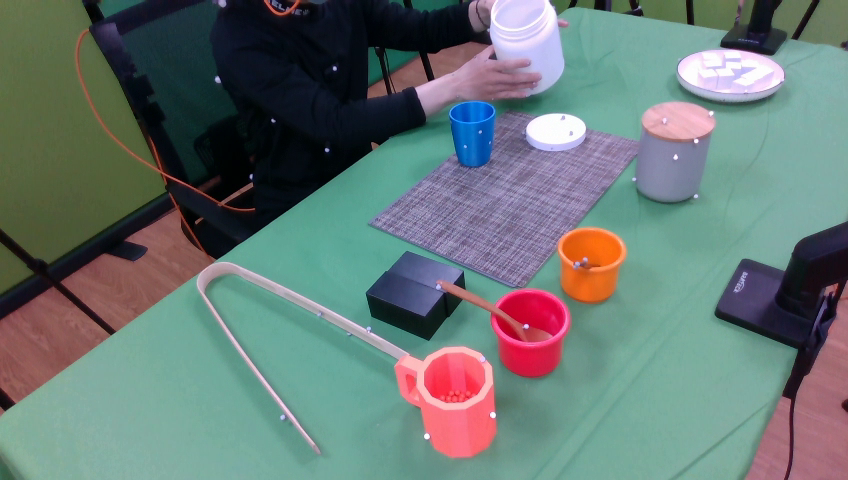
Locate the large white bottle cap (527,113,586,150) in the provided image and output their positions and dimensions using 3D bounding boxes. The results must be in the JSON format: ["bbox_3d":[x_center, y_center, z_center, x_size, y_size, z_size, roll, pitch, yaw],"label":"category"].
[{"bbox_3d":[0.259,-0.213,1.183,0.115,0.018,0.114,-4,41,4],"label":"large white bottle cap"}]

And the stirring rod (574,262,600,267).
[{"bbox_3d":[0.222,0.033,0.816,0.014,0.006,0.177,7,0,22],"label":"stirring rod"}]

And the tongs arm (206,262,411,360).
[{"bbox_3d":[-0.179,0.106,0.870,0.382,0.027,0.051,23,55,32],"label":"tongs arm"}]

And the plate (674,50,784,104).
[{"bbox_3d":[0.631,-0.336,1.262,0.207,0.039,0.206,-4,41,4],"label":"plate"}]

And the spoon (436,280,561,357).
[{"bbox_3d":[0.096,0.095,0.758,0.195,0.021,0.041,34,40,-20],"label":"spoon"}]

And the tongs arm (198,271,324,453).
[{"bbox_3d":[-0.236,0.154,0.831,0.028,0.028,0.384,-37,48,-18],"label":"tongs arm"}]

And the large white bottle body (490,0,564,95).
[{"bbox_3d":[0.206,-0.396,1.213,0.130,0.186,0.130,-7,64,16],"label":"large white bottle body"}]

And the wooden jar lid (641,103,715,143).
[{"bbox_3d":[0.398,-0.180,0.952,0.108,0.021,0.108,-4,43,4],"label":"wooden jar lid"}]

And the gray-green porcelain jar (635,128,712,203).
[{"bbox_3d":[0.404,-0.133,0.992,0.106,0.127,0.105,-4,40,4],"label":"gray-green porcelain jar"}]

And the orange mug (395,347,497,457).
[{"bbox_3d":[0.024,0.180,0.703,0.125,0.101,0.083,20,48,23],"label":"orange mug"}]

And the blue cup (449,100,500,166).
[{"bbox_3d":[0.092,-0.195,1.123,0.092,0.100,0.092,-3,40,3],"label":"blue cup"}]
